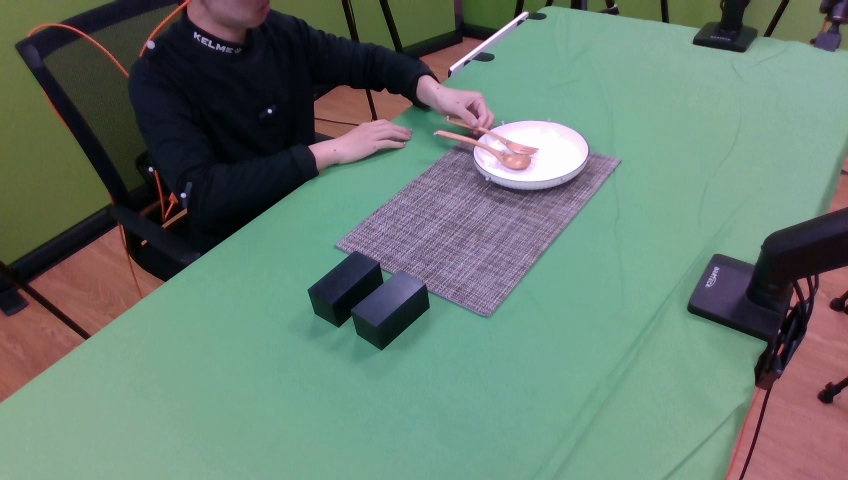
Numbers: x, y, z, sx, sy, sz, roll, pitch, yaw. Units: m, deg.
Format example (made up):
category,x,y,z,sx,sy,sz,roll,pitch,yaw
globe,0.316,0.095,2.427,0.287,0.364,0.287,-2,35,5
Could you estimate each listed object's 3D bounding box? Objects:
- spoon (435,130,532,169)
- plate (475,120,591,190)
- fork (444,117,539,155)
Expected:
category,x,y,z,sx,sy,sz,roll,pitch,yaw
spoon,0.107,-0.171,1.112,0.193,0.022,0.041,25,52,15
plate,0.196,-0.151,1.099,0.207,0.039,0.206,-4,40,4
fork,0.123,-0.199,1.144,0.206,0.019,0.028,27,62,24
